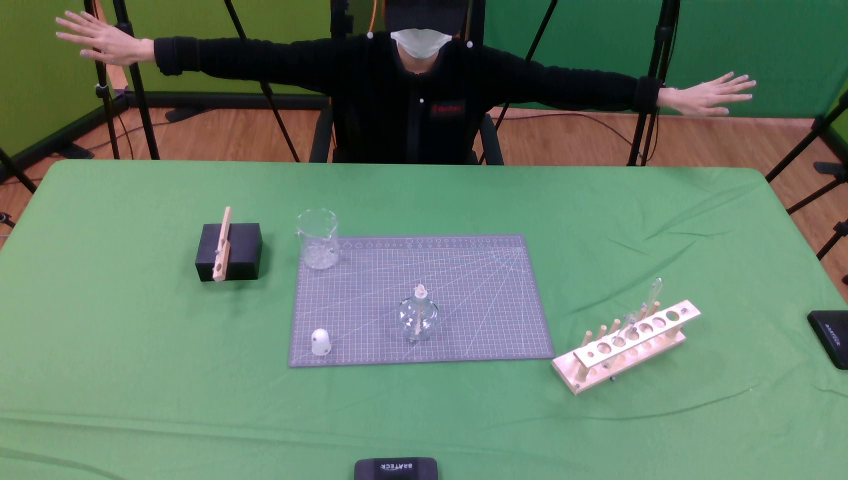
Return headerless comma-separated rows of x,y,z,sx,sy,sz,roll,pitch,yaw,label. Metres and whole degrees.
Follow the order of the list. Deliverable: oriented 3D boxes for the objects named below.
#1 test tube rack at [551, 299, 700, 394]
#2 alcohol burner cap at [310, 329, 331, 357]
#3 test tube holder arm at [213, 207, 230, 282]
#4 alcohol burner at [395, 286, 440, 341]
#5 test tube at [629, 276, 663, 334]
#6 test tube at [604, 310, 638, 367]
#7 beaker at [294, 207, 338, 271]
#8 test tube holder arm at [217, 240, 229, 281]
0.339,0.166,1.021,0.242,0.085,0.066,-19,50,-21,test tube rack
-0.173,0.168,1.005,0.034,0.048,0.033,2,46,-2,alcohol burner cap
-0.366,0.004,1.101,0.013,0.015,0.177,-10,47,-2,test tube holder arm
-0.010,0.116,1.018,0.078,0.119,0.077,3,47,-3,alcohol burner
0.370,0.111,1.015,0.017,0.151,0.017,1,48,-1,test tube
0.310,0.158,0.957,0.017,0.151,0.017,1,49,-1,test tube
-0.196,0.003,1.123,0.074,0.101,0.083,-23,53,-24,beaker
-0.355,0.035,1.070,0.010,0.015,0.087,-9,47,-1,test tube holder arm
